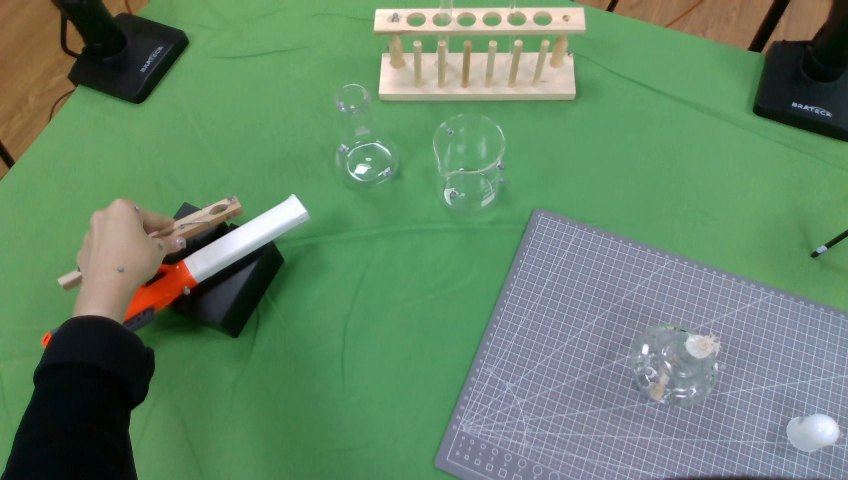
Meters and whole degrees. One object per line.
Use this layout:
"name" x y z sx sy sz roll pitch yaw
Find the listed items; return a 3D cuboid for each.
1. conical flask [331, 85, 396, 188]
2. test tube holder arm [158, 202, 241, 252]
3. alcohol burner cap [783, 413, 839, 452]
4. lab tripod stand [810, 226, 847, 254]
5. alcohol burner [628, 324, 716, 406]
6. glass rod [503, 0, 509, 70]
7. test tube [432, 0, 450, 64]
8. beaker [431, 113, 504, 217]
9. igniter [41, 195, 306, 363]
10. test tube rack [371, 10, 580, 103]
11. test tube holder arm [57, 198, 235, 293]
"conical flask" -0.073 -0.117 0.671 0.075 0.123 0.074 -1 64 3
"test tube holder arm" -0.228 -0.013 0.614 0.088 0.015 0.010 -29 70 -21
"alcohol burner cap" 0.356 0.174 0.553 0.034 0.048 0.033 -1 65 2
"lab tripod stand" 0.485 -0.027 0.595 0.148 0.132 0.147 0 64 1
"alcohol burner" 0.230 0.109 0.550 0.078 0.120 0.077 0 64 1
"glass rod" 0.093 -0.272 0.684 0.008 0.201 0.008 -3 56 5
"test tube" 0.021 -0.258 0.699 0.017 0.151 0.017 1 63 -2
"beaker" 0.044 -0.075 0.658 0.073 0.101 0.084 35 71 18
"igniter" -0.245 0.038 0.604 0.276 0.025 0.056 -33 58 -13
"test tube rack" 0.060 -0.221 0.734 0.242 0.086 0.066 0 64 3
"test tube holder arm" -0.268 0.003 0.599 0.178 0.015 0.013 -29 70 -21
